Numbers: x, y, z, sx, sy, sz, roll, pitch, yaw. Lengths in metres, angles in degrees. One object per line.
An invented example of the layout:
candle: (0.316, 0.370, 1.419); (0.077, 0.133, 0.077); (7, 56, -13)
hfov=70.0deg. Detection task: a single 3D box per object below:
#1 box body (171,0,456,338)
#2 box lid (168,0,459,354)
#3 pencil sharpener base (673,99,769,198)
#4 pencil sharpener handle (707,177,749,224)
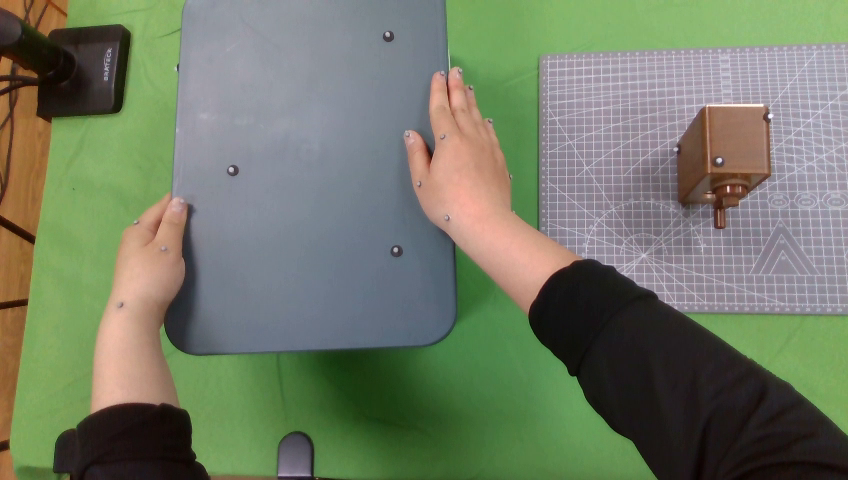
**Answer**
box body: (-0.098, -0.078, 0.639); (0.254, 0.161, 0.362); (-3, 78, 7)
box lid: (-0.106, -0.086, 0.561); (0.263, 0.015, 0.370); (-4, 80, 6)
pencil sharpener base: (0.295, -0.085, 0.609); (0.061, 0.107, 0.076); (1, 79, 9)
pencil sharpener handle: (0.292, -0.037, 0.588); (0.036, 0.068, 0.030); (0, 79, 14)
